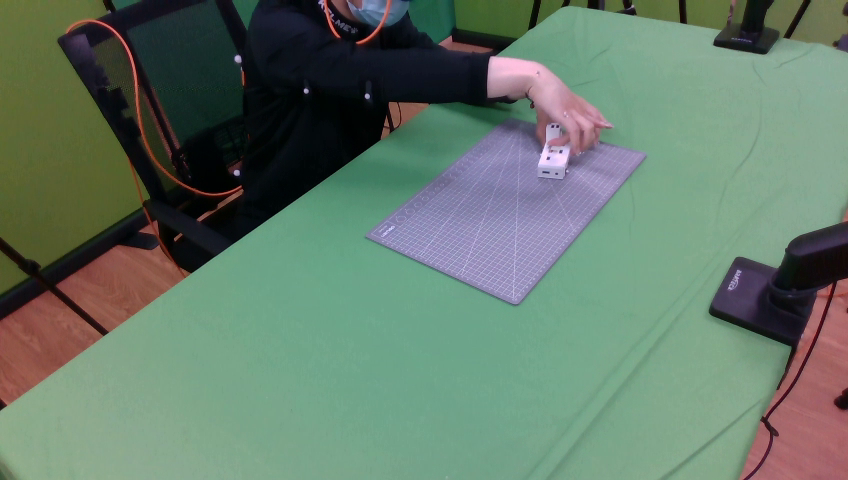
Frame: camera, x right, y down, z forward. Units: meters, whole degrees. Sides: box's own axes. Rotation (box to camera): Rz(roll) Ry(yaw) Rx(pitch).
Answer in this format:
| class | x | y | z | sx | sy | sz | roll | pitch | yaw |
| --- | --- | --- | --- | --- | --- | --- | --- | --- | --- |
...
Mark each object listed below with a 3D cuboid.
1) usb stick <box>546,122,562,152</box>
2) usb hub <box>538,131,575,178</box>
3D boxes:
| class | x | y | z | sx | sy | sz | roll | pitch | yaw |
| --- | --- | --- | --- | --- | --- | --- | --- | --- | --- |
| usb stick | 0.233 | -0.181 | 1.086 | 0.027 | 0.059 | 0.021 | 5 | 40 | 10 |
| usb hub | 0.245 | -0.159 | 1.113 | 0.049 | 0.025 | 0.125 | 8 | 44 | 18 |
